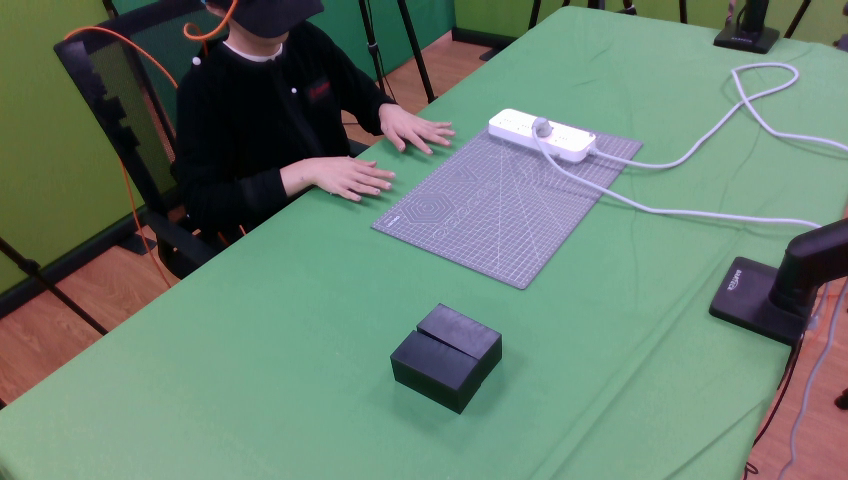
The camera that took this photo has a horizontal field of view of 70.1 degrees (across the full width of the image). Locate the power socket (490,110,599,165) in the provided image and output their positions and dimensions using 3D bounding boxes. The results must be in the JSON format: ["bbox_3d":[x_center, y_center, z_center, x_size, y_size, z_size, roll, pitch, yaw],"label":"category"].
[{"bbox_3d":[0.226,-0.201,1.167,0.225,0.033,0.072,27,53,33],"label":"power socket"}]

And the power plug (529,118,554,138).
[{"bbox_3d":[0.212,-0.200,1.130,0.073,0.053,0.035,-30,44,-26],"label":"power plug"}]
